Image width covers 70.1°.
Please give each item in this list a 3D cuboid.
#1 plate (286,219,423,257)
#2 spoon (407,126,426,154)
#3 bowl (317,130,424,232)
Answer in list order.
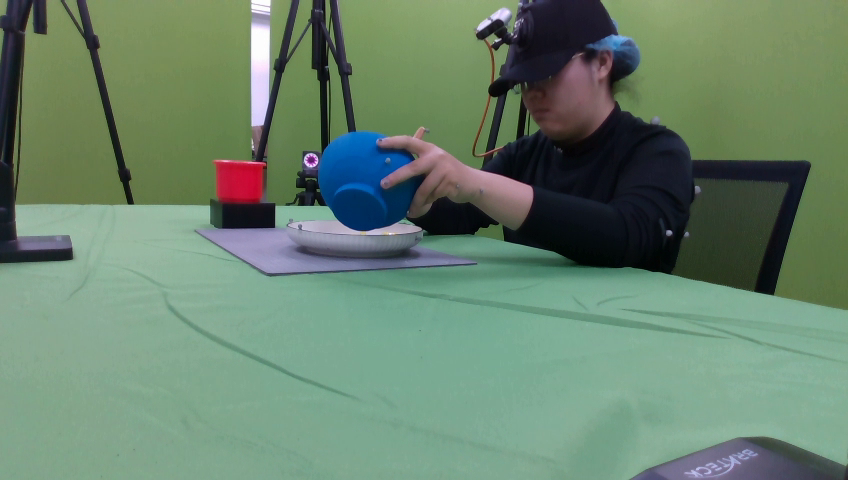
[{"bbox_3d":[-0.105,-0.003,0.922,0.208,0.039,0.207,3,7,0],"label":"plate"},{"bbox_3d":[-0.042,-0.103,0.902,0.041,0.022,0.194,12,53,27],"label":"spoon"},{"bbox_3d":[-0.080,-0.063,0.817,0.151,0.151,0.077,3,42,10],"label":"bowl"}]
